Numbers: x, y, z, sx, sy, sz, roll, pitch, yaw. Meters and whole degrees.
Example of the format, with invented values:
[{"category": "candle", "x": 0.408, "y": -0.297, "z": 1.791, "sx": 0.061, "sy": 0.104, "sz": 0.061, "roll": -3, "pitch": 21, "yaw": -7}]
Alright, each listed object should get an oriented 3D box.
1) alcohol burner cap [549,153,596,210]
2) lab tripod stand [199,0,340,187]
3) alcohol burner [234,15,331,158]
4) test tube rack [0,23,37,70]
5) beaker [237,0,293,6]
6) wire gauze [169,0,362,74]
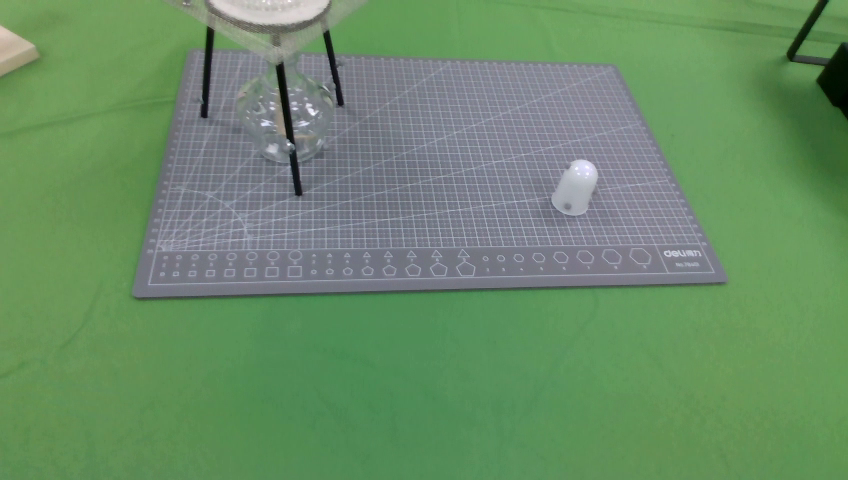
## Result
[{"category": "alcohol burner cap", "x": 0.126, "y": -0.051, "z": 0.508, "sx": 0.034, "sy": 0.048, "sz": 0.033, "roll": 4, "pitch": 50, "yaw": -5}, {"category": "lab tripod stand", "x": -0.118, "y": -0.137, "z": 0.482, "sx": 0.149, "sy": 0.132, "sz": 0.147, "roll": 6, "pitch": 51, "yaw": -6}, {"category": "alcohol burner", "x": -0.113, "y": -0.125, "z": 0.485, "sx": 0.078, "sy": 0.120, "sz": 0.077, "roll": 5, "pitch": 49, "yaw": -6}, {"category": "test tube rack", "x": -0.448, "y": -0.143, "z": 0.471, "sx": 0.066, "sy": 0.086, "sz": 0.241, "roll": 30, "pitch": 53, "yaw": 15}, {"category": "beaker", "x": -0.111, "y": -0.214, "z": 0.397, "sx": 0.073, "sy": 0.101, "sz": 0.084, "roll": 37, "pitch": 57, "yaw": 20}, {"category": "wire gauze", "x": -0.113, "y": -0.178, "z": 0.431, "sx": 0.124, "sy": 0.011, "sz": 0.121, "roll": 32, "pitch": 56, "yaw": 12}]
